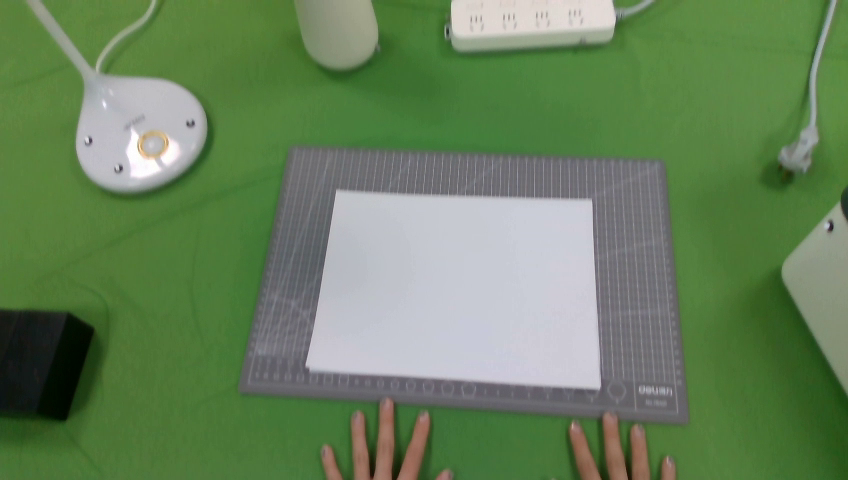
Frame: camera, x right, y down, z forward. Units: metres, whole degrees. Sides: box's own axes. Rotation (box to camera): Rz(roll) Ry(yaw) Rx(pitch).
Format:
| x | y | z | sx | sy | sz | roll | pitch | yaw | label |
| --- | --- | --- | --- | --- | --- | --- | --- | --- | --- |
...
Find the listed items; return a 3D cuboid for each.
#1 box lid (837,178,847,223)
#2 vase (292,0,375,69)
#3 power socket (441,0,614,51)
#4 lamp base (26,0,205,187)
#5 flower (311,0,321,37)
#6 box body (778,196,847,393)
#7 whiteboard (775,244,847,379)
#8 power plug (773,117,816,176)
| x | y | z | sx | sy | sz | roll | pitch | yaw | label |
| --- | --- | --- | --- | --- | --- | --- | --- | --- | --- |
| 0.519 | 0.068 | 0.454 | 0.263 | 0.015 | 0.368 | -17 | 65 | -4 | box lid |
| -0.117 | -0.300 | 0.720 | 0.098 | 0.201 | 0.097 | -2 | 64 | 4 | vase |
| 0.135 | -0.287 | 0.794 | 0.227 | 0.033 | 0.071 | -2 | 66 | 2 | power socket |
| -0.366 | -0.175 | 0.685 | 0.178 | 0.182 | 0.160 | 34 | 71 | 20 | lamp base |
| -0.102 | -0.326 | 0.641 | 0.044 | 0.362 | 0.038 | -37 | 85 | -23 | flower |
| 0.524 | 0.103 | 0.521 | 0.254 | 0.161 | 0.360 | -16 | 65 | -5 | box body |
| 0.524 | 0.096 | 0.537 | 0.217 | 0.145 | 0.302 | -16 | 65 | -8 | whiteboard |
| 0.426 | -0.103 | 0.691 | 0.072 | 0.053 | 0.035 | -29 | 61 | -33 | power plug |
